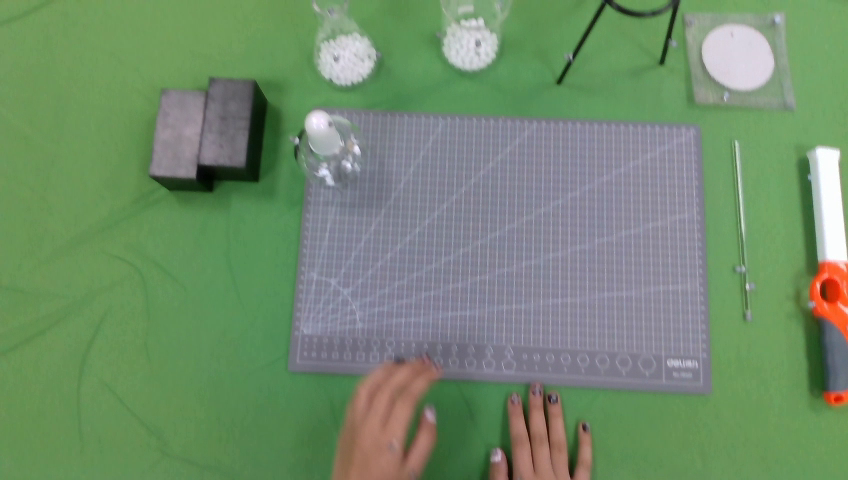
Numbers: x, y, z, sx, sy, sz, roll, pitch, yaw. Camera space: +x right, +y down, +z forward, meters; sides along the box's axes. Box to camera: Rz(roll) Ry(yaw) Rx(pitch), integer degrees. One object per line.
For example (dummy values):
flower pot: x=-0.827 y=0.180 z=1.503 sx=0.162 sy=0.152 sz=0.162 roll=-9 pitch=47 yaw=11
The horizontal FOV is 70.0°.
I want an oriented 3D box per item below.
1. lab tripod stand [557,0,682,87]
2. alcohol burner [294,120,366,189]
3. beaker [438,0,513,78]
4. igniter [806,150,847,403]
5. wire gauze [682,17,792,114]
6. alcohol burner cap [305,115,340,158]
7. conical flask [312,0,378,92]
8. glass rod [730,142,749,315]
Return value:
lab tripod stand: x=0.212 y=-0.240 z=0.662 sx=0.148 sy=0.132 sz=0.148 roll=0 pitch=80 yaw=0
alcohol burner: x=-0.102 y=-0.096 z=0.639 sx=0.078 sy=0.119 sz=0.077 roll=0 pitch=78 yaw=3
beaker: x=0.056 y=-0.235 z=0.679 sx=0.084 sy=0.100 sz=0.073 roll=-22 pitch=79 yaw=-5
igniter: x=0.442 y=0.036 z=0.657 sx=0.057 sy=0.025 sz=0.275 roll=5 pitch=78 yaw=-10
wire gauze: x=0.372 y=-0.209 z=0.719 sx=0.125 sy=0.011 sz=0.121 roll=2 pitch=79 yaw=-1
alcohol burner cap: x=-0.103 y=-0.106 z=0.604 sx=0.034 sy=0.048 sz=0.033 roll=0 pitch=71 yaw=-1
conical flask: x=-0.093 y=-0.221 z=0.664 sx=0.075 sy=0.122 sz=0.075 roll=0 pitch=78 yaw=1
glass rod: x=0.353 y=-0.016 z=0.678 sx=0.008 sy=0.008 sz=0.199 roll=1 pitch=78 yaw=0
